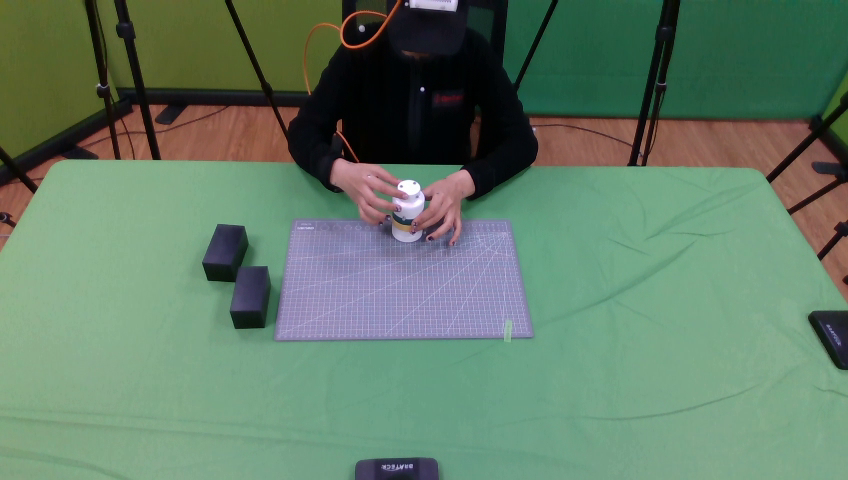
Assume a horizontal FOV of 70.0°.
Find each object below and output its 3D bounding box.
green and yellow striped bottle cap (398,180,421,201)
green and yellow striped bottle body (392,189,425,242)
[{"bbox_3d":[-0.028,-0.094,1.140,0.045,0.020,0.045,1,45,-1],"label":"green and yellow striped bottle cap"},{"bbox_3d":[-0.030,-0.058,1.178,0.063,0.120,0.063,2,46,-2],"label":"green and yellow striped bottle body"}]
